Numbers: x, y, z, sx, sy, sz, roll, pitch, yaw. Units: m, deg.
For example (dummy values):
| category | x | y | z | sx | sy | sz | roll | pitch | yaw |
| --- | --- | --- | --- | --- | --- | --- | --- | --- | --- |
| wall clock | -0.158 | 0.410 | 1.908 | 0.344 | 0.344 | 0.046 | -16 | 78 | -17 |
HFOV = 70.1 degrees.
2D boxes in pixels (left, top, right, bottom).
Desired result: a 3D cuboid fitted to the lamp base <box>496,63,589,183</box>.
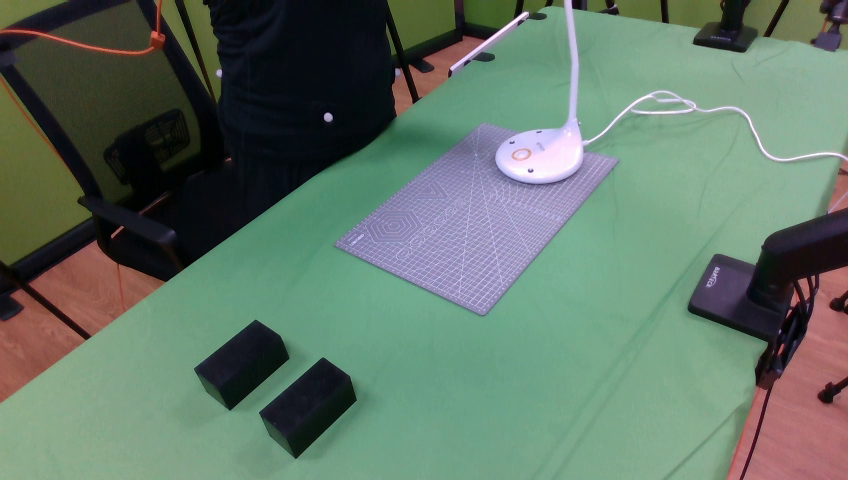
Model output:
| category | x | y | z | sx | sy | sz | roll | pitch | yaw |
| --- | --- | --- | --- | --- | --- | --- | --- | --- | --- |
| lamp base | 0.216 | -0.217 | 1.067 | 0.180 | 0.181 | 0.159 | -19 | 42 | -18 |
